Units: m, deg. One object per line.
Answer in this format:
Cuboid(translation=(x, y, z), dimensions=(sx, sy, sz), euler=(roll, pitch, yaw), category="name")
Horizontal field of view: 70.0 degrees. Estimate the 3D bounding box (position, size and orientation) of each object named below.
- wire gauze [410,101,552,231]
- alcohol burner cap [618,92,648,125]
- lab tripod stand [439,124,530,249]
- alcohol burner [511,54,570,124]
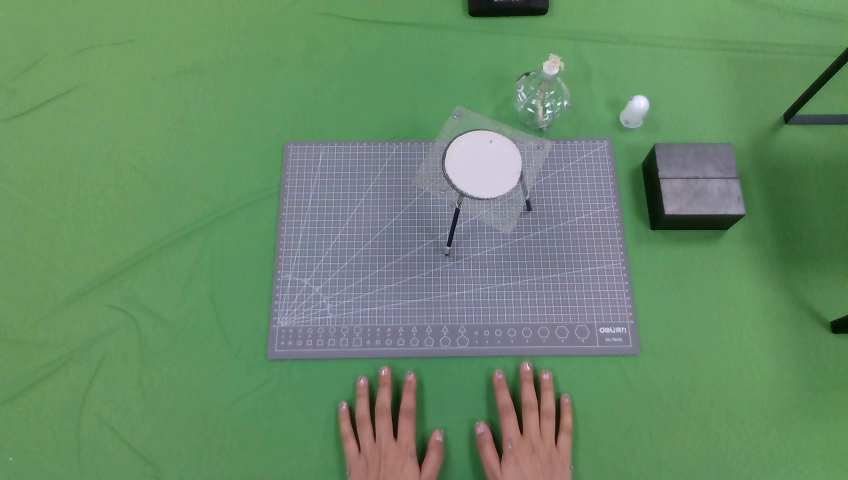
Cuboid(translation=(0.064, -0.087, 0.670), dimensions=(0.125, 0.011, 0.121), euler=(27, 71, 8), category="wire gauze")
Cuboid(translation=(0.288, -0.182, 0.829), dimensions=(0.034, 0.048, 0.033), euler=(0, 69, 1), category="alcohol burner cap")
Cuboid(translation=(0.066, -0.070, 0.735), dimensions=(0.148, 0.132, 0.147), euler=(1, 68, -1), category="lab tripod stand")
Cuboid(translation=(0.157, -0.206, 0.798), dimensions=(0.078, 0.120, 0.077), euler=(1, 69, -1), category="alcohol burner")
